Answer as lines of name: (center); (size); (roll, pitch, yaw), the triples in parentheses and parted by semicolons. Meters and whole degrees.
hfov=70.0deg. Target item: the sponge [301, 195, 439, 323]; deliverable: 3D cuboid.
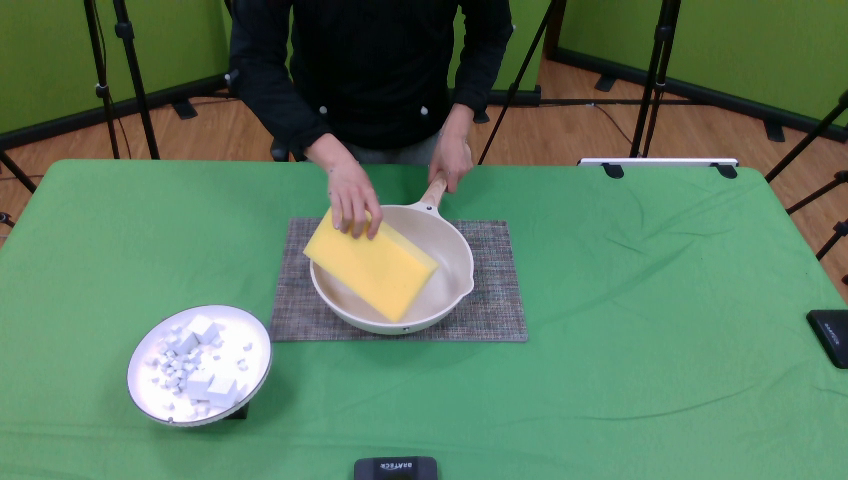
sponge: (-0.093, 0.032, 1.046); (0.206, 0.118, 0.061); (37, 18, 4)

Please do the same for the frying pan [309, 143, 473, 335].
frying pan: (-0.018, -0.022, 1.155); (0.306, 0.103, 0.486); (20, 57, 13)

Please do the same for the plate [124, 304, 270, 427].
plate: (-0.336, 0.189, 0.913); (0.208, 0.039, 0.206); (1, 46, -1)
